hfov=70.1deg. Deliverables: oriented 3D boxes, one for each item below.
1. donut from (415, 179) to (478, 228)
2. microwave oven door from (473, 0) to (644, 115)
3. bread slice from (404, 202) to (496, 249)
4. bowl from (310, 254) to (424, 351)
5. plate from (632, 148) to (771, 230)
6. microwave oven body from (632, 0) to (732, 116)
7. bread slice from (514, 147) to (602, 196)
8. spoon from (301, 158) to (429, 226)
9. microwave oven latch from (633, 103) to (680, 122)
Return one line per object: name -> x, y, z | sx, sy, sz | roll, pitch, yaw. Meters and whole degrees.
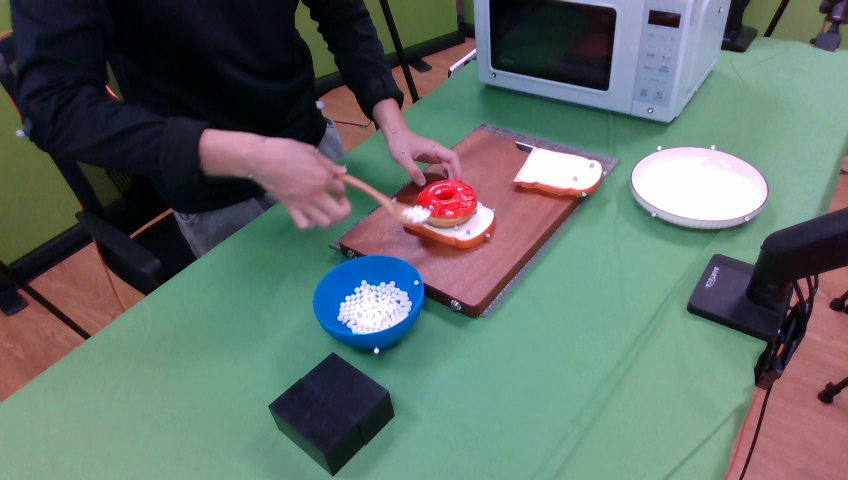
donut -> 0.036, -0.058, 0.944 | 0.099, 0.048, 0.098 | -4, 40, 4
microwave oven door -> 0.257, -0.396, 1.199 | 0.353, 0.245, 0.039 | 21, 48, 29
bread slice -> 0.048, -0.034, 0.961 | 0.130, 0.019, 0.105 | 22, 50, 32
bowl -> -0.071, 0.097, 0.821 | 0.151, 0.077, 0.150 | -4, 40, 4
plate -> 0.447, -0.081, 0.988 | 0.207, 0.039, 0.206 | -4, 40, 4
microwave oven body -> 0.377, -0.462, 1.267 | 0.438, 0.261, 0.327 | 21, 48, 30
bread slice -> 0.232, -0.115, 1.026 | 0.133, 0.018, 0.107 | 13, 45, 20
spoon -> -0.082, -0.069, 0.834 | 0.194, 0.021, 0.041 | 30, 38, -2
microwave oven latch -> 0.444, -0.249, 1.157 | 0.078, 0.029, 0.030 | 21, 49, 30
